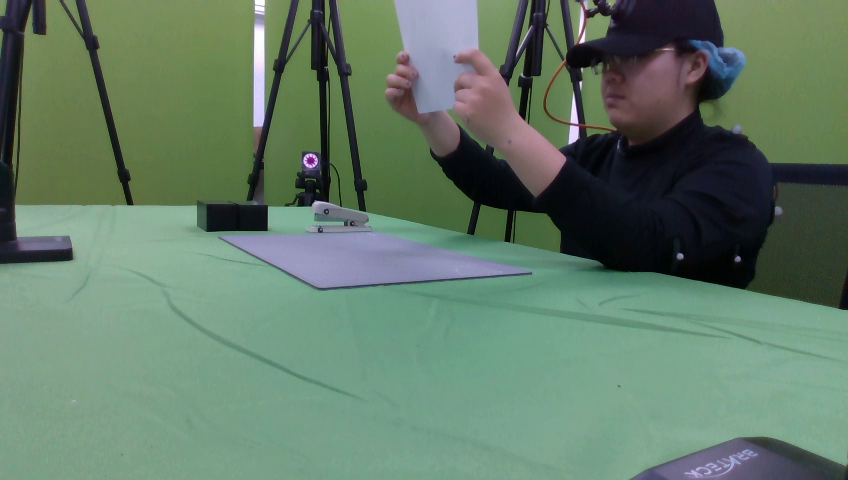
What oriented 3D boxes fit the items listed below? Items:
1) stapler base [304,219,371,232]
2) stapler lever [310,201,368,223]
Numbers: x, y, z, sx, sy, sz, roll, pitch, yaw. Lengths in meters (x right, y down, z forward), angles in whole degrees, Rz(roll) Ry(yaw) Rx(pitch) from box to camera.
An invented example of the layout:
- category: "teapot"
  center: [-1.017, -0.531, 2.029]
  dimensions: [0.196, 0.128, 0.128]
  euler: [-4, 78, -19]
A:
- category: "stapler base"
  center: [-0.169, -0.030, 1.186]
  dimensions: [0.131, 0.024, 0.041]
  euler: [0, 9, -33]
- category: "stapler lever"
  center: [-0.166, -0.055, 1.184]
  dimensions: [0.119, 0.040, 0.026]
  euler: [1, 9, -33]
